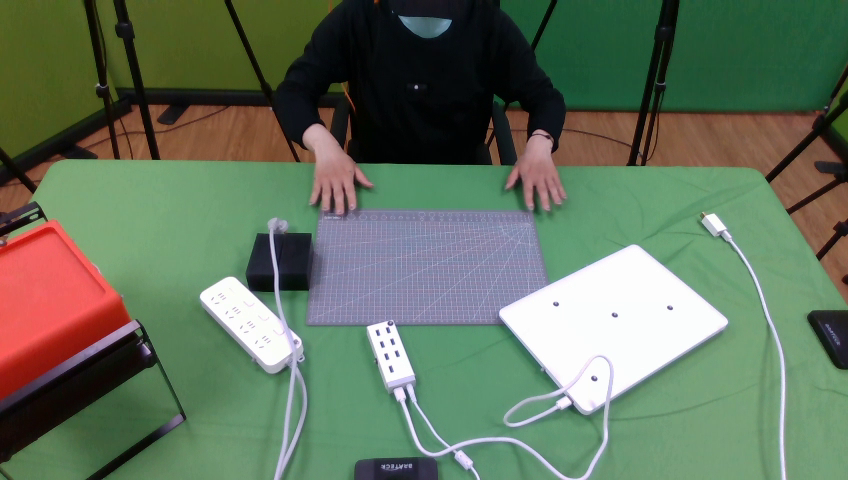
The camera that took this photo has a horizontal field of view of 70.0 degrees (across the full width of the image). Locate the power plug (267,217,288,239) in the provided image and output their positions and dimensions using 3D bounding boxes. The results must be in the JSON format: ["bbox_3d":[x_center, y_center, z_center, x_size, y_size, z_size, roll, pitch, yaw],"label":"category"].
[{"bbox_3d":[-0.286,-0.014,1.168,0.035,0.053,0.072,-13,37,23],"label":"power plug"}]

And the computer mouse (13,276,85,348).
[{"bbox_3d":[-0.497,0.090,0.804,0.063,0.041,0.116,-7,42,-7],"label":"computer mouse"}]

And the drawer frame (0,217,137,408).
[{"bbox_3d":[-0.523,0.094,0.779,0.200,0.083,0.213,37,55,26],"label":"drawer frame"}]

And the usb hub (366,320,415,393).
[{"bbox_3d":[-0.056,0.192,1.009,0.049,0.025,0.124,-12,49,-16],"label":"usb hub"}]

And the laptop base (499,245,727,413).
[{"bbox_3d":[0.339,0.145,1.088,0.354,0.023,0.234,-23,49,-24],"label":"laptop base"}]

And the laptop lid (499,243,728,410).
[{"bbox_3d":[0.338,0.135,1.081,0.357,0.013,0.240,-21,50,-23],"label":"laptop lid"}]

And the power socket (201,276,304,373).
[{"bbox_3d":[-0.296,0.141,1.034,0.225,0.033,0.072,37,55,26],"label":"power socket"}]

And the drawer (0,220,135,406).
[{"bbox_3d":[-0.522,0.093,0.782,0.193,0.073,0.211,37,55,27],"label":"drawer"}]

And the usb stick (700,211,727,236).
[{"bbox_3d":[0.606,-0.038,1.273,0.027,0.021,0.059,-18,56,-21],"label":"usb stick"}]
